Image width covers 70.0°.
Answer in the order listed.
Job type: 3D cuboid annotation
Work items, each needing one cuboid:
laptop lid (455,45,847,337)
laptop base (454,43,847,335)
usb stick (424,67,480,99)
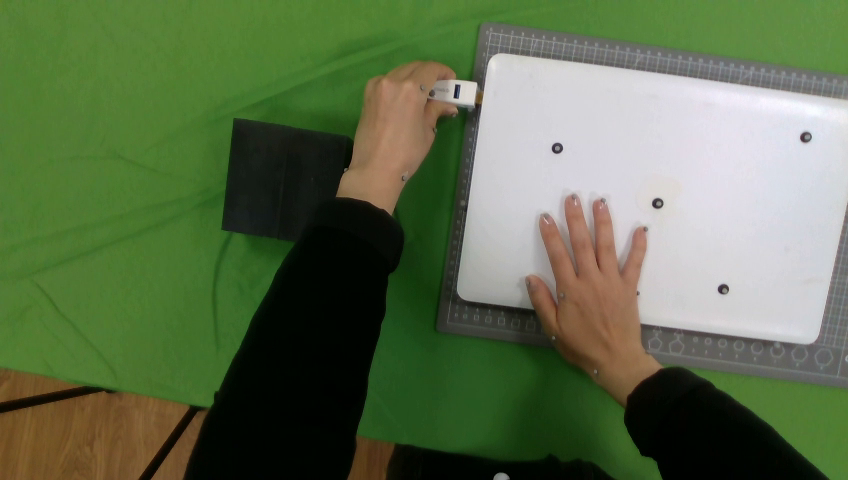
[{"bbox_3d":[0.216,-0.041,0.567,0.357,0.013,0.242,9,98,-1],"label":"laptop lid"},{"bbox_3d":[0.216,-0.045,0.578,0.354,0.023,0.236,7,99,-1],"label":"laptop base"},{"bbox_3d":[0.031,-0.143,0.557,0.059,0.027,0.021,8,96,0],"label":"usb stick"}]
